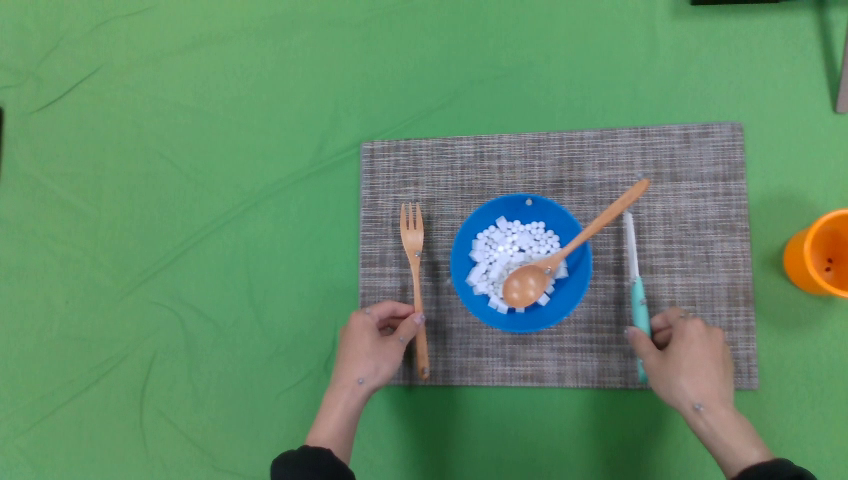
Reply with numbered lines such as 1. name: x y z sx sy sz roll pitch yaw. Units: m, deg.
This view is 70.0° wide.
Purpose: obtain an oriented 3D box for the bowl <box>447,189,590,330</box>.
1. bowl: 0.104 0.025 0.676 0.151 0.077 0.151 -1 82 8

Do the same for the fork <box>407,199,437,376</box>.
1. fork: -0.003 0.053 0.701 0.019 0.028 0.206 2 76 -27

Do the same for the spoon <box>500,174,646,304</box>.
1. spoon: 0.156 0.000 0.637 0.194 0.021 0.041 -43 84 21

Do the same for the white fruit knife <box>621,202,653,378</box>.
1. white fruit knife: 0.231 0.046 0.669 0.016 0.027 0.206 -2 76 -4

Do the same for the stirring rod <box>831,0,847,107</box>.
1. stirring rod: 0.467 -0.236 0.665 0.014 0.006 0.177 0 103 5
